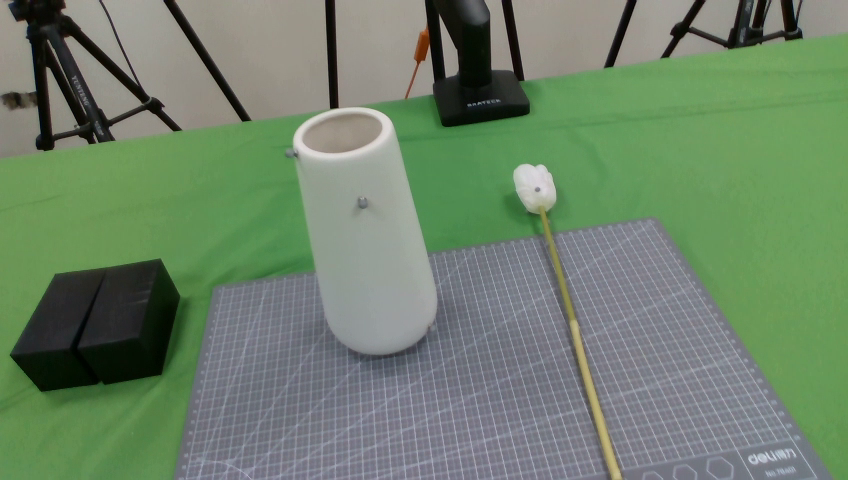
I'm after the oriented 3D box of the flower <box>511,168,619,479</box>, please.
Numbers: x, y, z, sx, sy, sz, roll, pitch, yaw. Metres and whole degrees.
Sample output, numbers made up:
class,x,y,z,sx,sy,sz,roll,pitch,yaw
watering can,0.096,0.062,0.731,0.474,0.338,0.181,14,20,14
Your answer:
class,x,y,z,sx,sy,sz,roll,pitch,yaw
flower,0.125,0.052,0.544,0.044,0.038,0.358,21,39,-23

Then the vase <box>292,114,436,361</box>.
class,x,y,z,sx,sy,sz,roll,pitch,yaw
vase,-0.047,0.004,0.479,0.098,0.202,0.097,-5,39,5
